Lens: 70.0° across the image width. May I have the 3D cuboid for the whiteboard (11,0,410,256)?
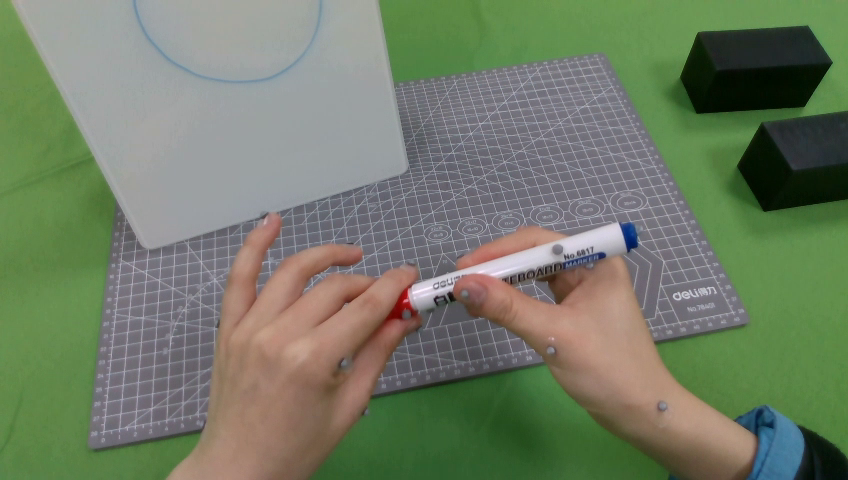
[{"bbox_3d":[-0.154,-0.178,0.443,0.217,0.308,0.142,-18,38,-10],"label":"whiteboard"}]

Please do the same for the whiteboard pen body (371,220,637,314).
[{"bbox_3d":[0.036,0.017,0.306,0.140,0.017,0.016,-18,54,15],"label":"whiteboard pen body"}]

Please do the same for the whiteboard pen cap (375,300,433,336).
[{"bbox_3d":[-0.011,0.040,0.324,0.017,0.032,0.017,22,57,-38],"label":"whiteboard pen cap"}]
